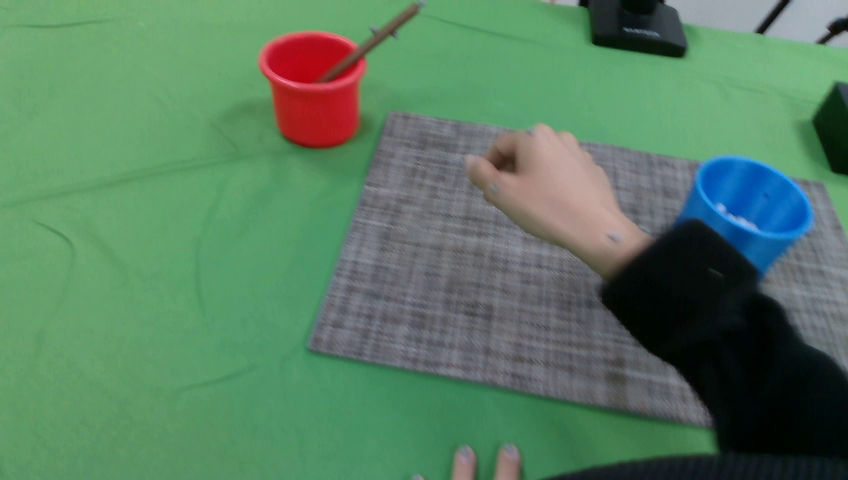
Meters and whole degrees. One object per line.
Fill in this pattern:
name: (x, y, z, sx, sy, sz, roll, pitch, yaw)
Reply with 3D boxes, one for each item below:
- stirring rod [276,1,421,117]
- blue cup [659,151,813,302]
stirring rod: (-0.075, -0.169, 0.572, 0.176, 0.006, 0.014, -31, 49, 20)
blue cup: (0.233, -0.004, 0.475, 0.093, 0.101, 0.091, 4, 48, -4)
